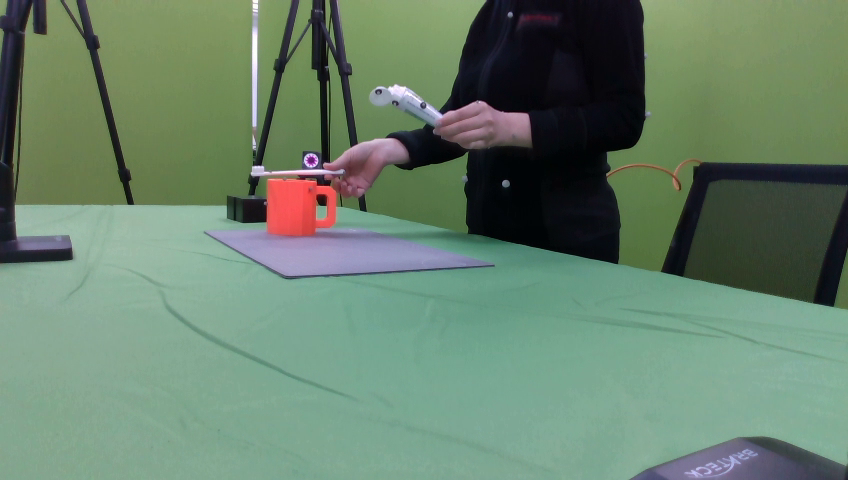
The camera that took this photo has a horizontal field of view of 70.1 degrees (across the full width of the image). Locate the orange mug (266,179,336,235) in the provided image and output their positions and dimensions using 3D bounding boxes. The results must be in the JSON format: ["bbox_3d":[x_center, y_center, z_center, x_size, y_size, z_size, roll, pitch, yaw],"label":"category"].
[{"bbox_3d":[-0.222,-0.062,1.094,0.127,0.101,0.083,-5,10,-22],"label":"orange mug"}]

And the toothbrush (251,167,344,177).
[{"bbox_3d":[-0.225,-0.125,1.095,0.183,0.016,0.014,-6,16,-37],"label":"toothbrush"}]

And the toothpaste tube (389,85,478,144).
[{"bbox_3d":[0.013,-0.197,0.959,0.166,0.034,0.055,26,18,-19],"label":"toothpaste tube"}]

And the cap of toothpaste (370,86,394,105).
[{"bbox_3d":[-0.064,-0.220,0.915,0.037,0.011,0.037,-10,-35,-7],"label":"cap of toothpaste"}]
